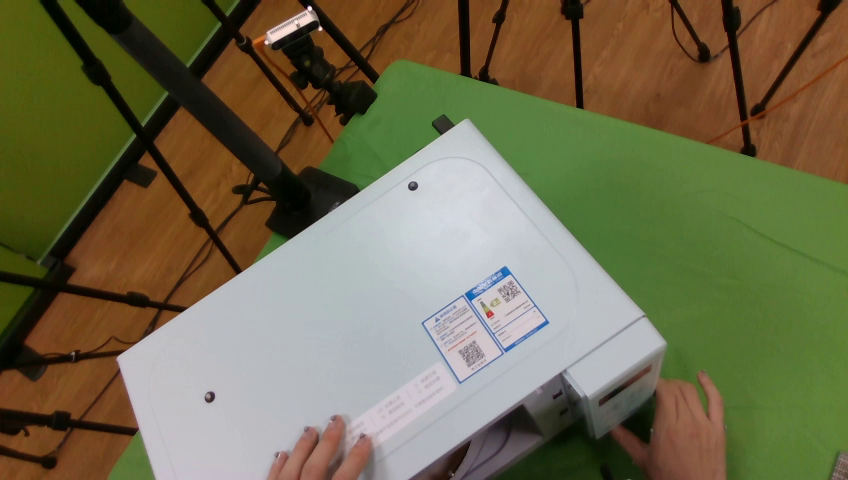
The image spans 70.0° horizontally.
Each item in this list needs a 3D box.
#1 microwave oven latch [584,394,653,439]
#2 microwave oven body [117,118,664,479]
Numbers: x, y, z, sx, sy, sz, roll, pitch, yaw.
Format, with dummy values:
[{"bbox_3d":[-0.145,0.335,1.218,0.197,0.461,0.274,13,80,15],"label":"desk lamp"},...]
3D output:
[{"bbox_3d":[0.215,0.186,0.671,0.079,0.030,0.030,-34,60,0],"label":"microwave oven latch"},{"bbox_3d":[-0.032,0.143,0.656,0.442,0.263,0.322,-35,60,-1],"label":"microwave oven body"}]
